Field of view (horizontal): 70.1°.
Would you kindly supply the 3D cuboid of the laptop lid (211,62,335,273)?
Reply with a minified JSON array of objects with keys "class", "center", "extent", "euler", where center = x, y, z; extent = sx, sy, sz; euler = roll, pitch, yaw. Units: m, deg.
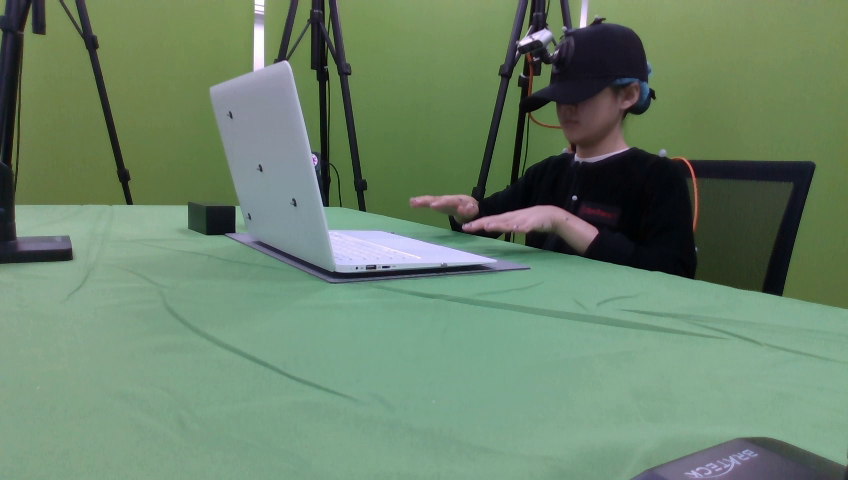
[{"class":"laptop lid","center":[-0.211,-0.095,0.791],"extent":[0.013,0.241,0.355],"euler":[-18,18,-29]}]

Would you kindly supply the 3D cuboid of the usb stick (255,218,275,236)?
[{"class":"usb stick","center":[-0.262,-0.021,1.003],"extent":[0.021,0.027,0.059],"euler":[-1,11,-33]}]

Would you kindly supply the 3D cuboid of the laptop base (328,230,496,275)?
[{"class":"laptop base","center":[-0.091,0.016,0.884],"extent":[0.237,0.023,0.352],"euler":[3,6,-32]}]
